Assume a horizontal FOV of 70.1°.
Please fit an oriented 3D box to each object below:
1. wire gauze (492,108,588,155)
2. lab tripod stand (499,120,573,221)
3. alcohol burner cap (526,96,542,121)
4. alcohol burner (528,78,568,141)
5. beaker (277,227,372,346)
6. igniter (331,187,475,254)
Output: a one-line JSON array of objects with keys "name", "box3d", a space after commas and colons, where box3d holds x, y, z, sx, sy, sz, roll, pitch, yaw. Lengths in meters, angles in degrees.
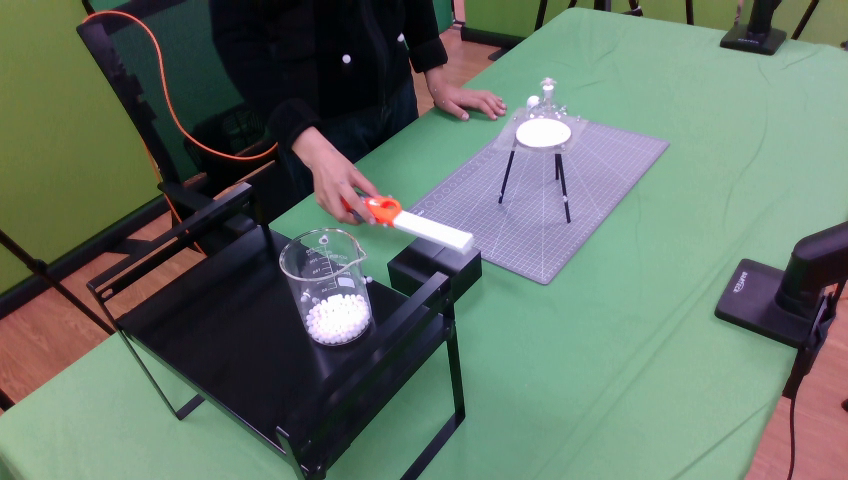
[{"name": "wire gauze", "box3d": [0.185, -0.170, 0.953, 0.121, 0.011, 0.125, 13, 44, 22]}, {"name": "lab tripod stand", "box3d": [0.198, -0.117, 0.992, 0.148, 0.132, 0.147, -3, 40, 3]}, {"name": "alcohol burner cap", "box3d": [0.225, -0.272, 1.243, 0.034, 0.048, 0.033, -5, 41, 5]}, {"name": "alcohol burner", "box3d": [0.238, -0.253, 1.163, 0.078, 0.119, 0.077, -6, 40, 6]}, {"name": "beaker", "box3d": [-0.090, 0.048, 0.593, 0.084, 0.101, 0.073, -3, 41, 5]}, {"name": "igniter", "box3d": [-0.043, -0.034, 0.907, 0.274, 0.025, 0.057, 20, 52, 35]}]
